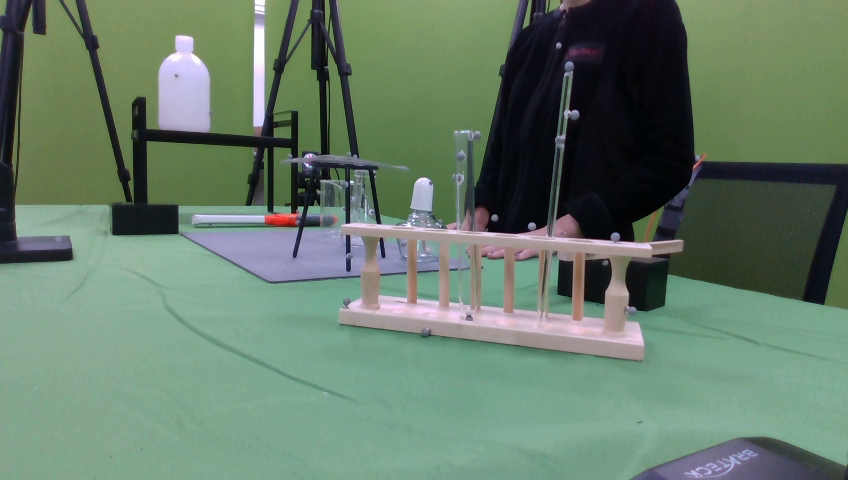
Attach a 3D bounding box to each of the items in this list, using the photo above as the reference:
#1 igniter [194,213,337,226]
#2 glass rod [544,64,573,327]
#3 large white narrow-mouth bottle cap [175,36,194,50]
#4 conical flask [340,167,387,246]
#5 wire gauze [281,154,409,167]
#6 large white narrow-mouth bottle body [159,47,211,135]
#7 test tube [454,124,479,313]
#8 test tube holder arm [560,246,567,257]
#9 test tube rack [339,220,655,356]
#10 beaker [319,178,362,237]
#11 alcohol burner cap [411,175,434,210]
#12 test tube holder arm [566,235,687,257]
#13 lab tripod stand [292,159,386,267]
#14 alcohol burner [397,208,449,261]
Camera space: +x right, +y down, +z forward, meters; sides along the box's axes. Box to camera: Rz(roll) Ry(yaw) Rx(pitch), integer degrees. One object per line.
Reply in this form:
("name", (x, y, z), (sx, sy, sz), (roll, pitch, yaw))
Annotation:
("igniter", (-0.306, -0.041, 1.197), (0.278, 0.025, 0.057), (-2, -2, -30))
("glass rod", (0.101, -0.028, 0.453), (0.008, 0.199, 0.008), (2, 13, 0))
("large white narrow-mouth bottle cap", (-0.501, -0.411, 1.264), (0.038, 0.024, 0.037), (2, 7, 0))
("conical flask", (-0.095, -0.054, 0.964), (0.075, 0.122, 0.075), (2, 8, 0))
("wire gauze", (-0.104, -0.104, 0.784), (0.126, 0.011, 0.121), (-2, 8, -38))
("large white narrow-mouth bottle body", (-0.503, -0.323, 1.275), (0.102, 0.194, 0.102), (2, 7, 0))
("test tube", (0.034, -0.015, 0.477), (0.017, 0.150, 0.017), (-2, 9, 1))
("test tube holder arm", (0.173, 0.007, 0.612), (0.088, 0.015, 0.010), (-3, 9, -30))
("test tube rack", (0.056, 0.032, 0.495), (0.242, 0.085, 0.067), (4, 7, 15))
("beaker", (-0.148, -0.058, 1.069), (0.074, 0.100, 0.084), (1, 8, -8))
("alcohol burner cap", (0.000, -0.067, 0.842), (0.034, 0.048, 0.034), (7, 8, -1))
("test tube holder arm", (0.215, 0.006, 0.630), (0.179, 0.015, 0.013), (-3, 9, -31))
("lab tripod stand", (-0.105, -0.039, 0.797), (0.148, 0.131, 0.148), (2, 5, 0))
("alcohol burner", (-0.002, -0.031, 0.846), (0.078, 0.119, 0.078), (0, 6, 0))
